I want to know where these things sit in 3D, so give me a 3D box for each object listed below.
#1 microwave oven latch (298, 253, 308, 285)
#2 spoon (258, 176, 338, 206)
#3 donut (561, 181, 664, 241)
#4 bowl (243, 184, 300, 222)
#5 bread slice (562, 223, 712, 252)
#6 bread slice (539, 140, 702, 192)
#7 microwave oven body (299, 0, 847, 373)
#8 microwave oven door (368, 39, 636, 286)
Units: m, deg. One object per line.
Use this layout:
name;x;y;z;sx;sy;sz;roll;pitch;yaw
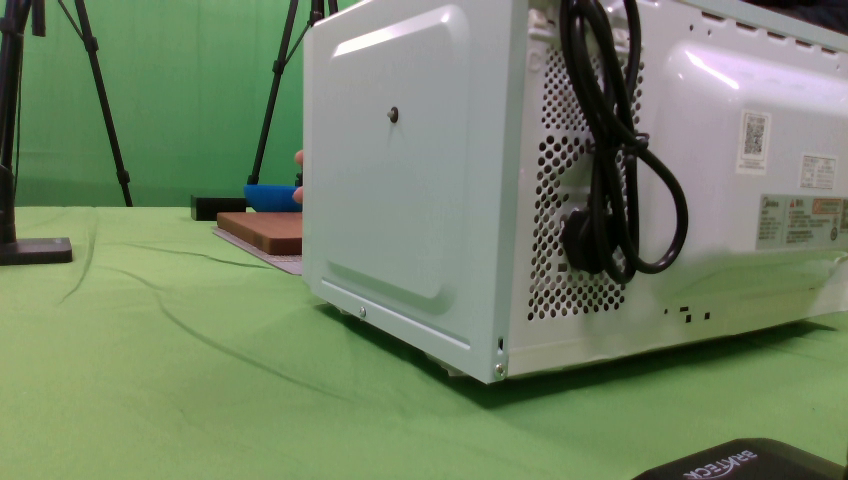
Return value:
microwave oven latch;-0.081;0.027;0.583;0.079;0.029;0.030;-2;8;-33
spoon;-0.279;-0.112;1.356;0.194;0.021;0.041;-27;18;-27
donut;0.187;-0.030;0.602;0.099;0.048;0.099;10;-9;2
bowl;-0.321;-0.081;1.333;0.151;0.077;0.151;3;8;0
bread slice;0.207;-0.004;0.578;0.105;0.019;0.131;2;4;-12
bread slice;0.194;-0.073;0.583;0.107;0.018;0.133;-1;20;-36
microwave oven body;0.152;-0.055;0.542;0.444;0.260;0.324;-2;7;-33
microwave oven door;0.107;-0.081;0.690;0.358;0.243;0.039;-2;9;-31
